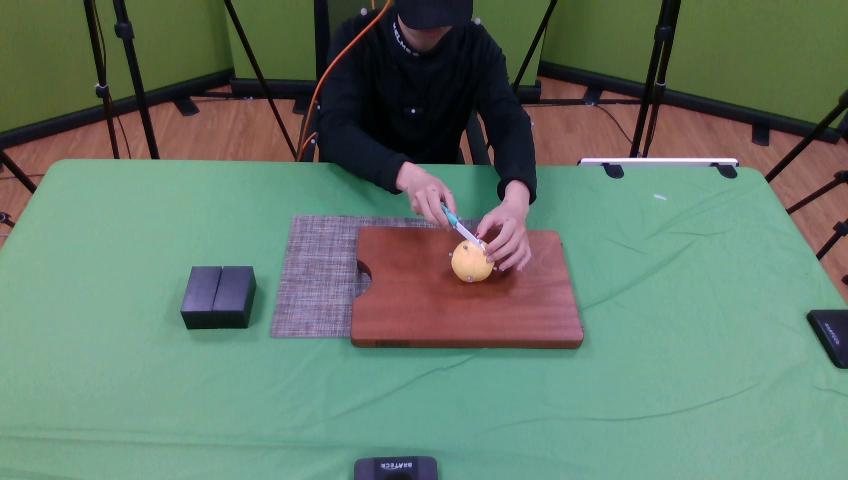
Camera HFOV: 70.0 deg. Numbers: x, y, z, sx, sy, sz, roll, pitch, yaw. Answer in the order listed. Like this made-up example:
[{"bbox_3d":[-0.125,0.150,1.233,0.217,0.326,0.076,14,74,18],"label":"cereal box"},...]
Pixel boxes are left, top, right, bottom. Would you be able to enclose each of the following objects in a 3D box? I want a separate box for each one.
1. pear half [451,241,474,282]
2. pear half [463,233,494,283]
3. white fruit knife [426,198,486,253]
[{"bbox_3d":[0.065,0.038,1.083,0.031,0.088,0.070,-14,51,-17],"label":"pear half"},{"bbox_3d":[0.100,0.024,1.084,0.056,0.110,0.076,-12,53,-20],"label":"pear half"},{"bbox_3d":[0.056,-0.029,1.088,0.016,0.027,0.206,-24,38,-18],"label":"white fruit knife"}]
